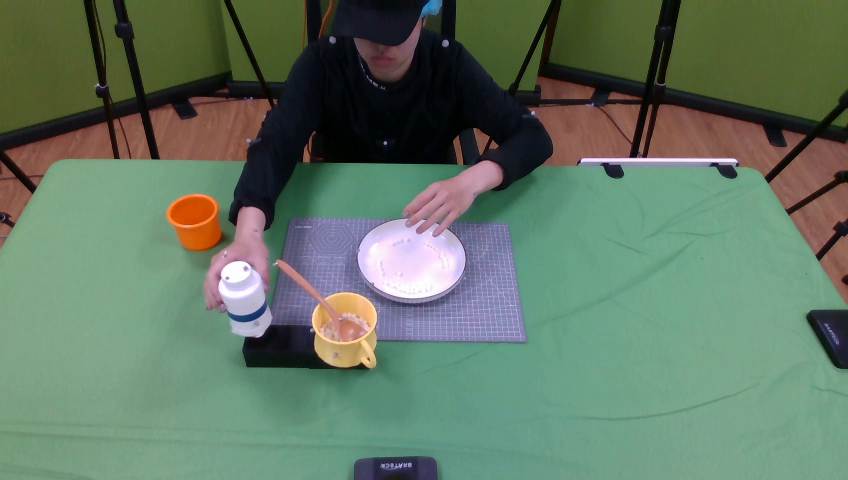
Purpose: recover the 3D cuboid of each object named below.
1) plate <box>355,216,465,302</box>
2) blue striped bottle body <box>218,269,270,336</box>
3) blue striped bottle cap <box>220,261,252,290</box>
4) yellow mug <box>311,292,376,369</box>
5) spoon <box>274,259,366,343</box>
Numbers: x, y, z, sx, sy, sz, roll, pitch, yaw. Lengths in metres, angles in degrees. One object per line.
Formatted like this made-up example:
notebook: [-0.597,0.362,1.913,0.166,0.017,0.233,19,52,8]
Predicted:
plate: [-0.027,0.039,1.144,0.208,0.039,0.206,2,46,-2]
blue striped bottle body: [-0.278,0.088,0.933,0.063,0.121,0.062,1,45,0]
blue striped bottle cap: [-0.279,0.052,0.897,0.044,0.021,0.044,3,45,-3]
yellow mug: [-0.115,0.150,0.945,0.100,0.064,0.130,-30,57,-28]
spoon: [-0.161,0.098,0.946,0.194,0.021,0.041,48,56,-5]
